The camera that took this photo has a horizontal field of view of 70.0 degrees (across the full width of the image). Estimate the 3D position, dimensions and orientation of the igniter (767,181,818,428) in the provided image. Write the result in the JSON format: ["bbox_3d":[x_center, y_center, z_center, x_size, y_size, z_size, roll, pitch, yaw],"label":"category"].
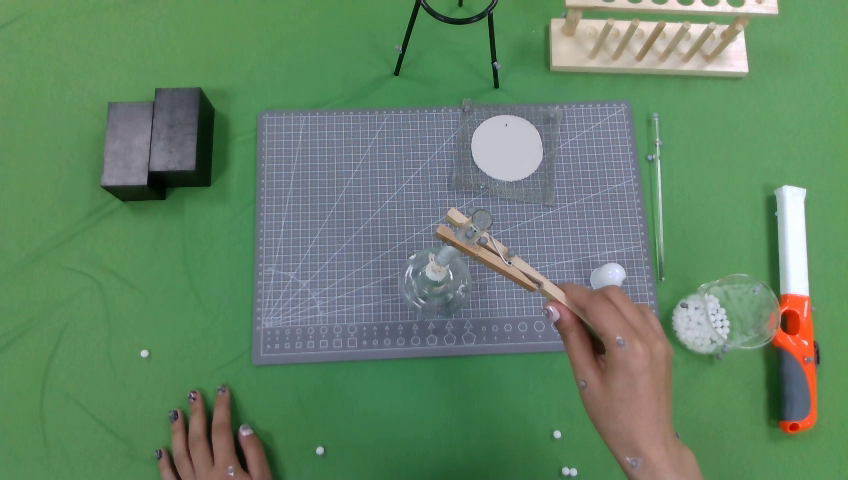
[{"bbox_3d":[0.409,0.068,0.676,0.057,0.025,0.275,9,76,-9],"label":"igniter"}]

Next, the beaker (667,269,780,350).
[{"bbox_3d":[0.304,0.075,0.635,0.084,0.101,0.074,29,76,7],"label":"beaker"}]

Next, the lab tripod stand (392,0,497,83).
[{"bbox_3d":[0.030,-0.250,0.690,0.148,0.132,0.147,0,78,-1],"label":"lab tripod stand"}]

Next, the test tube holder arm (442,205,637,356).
[{"bbox_3d":[0.087,0.031,0.458,0.178,0.015,0.013,36,78,0],"label":"test tube holder arm"}]

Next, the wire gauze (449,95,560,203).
[{"bbox_3d":[0.097,-0.112,0.719,0.125,0.011,0.121,9,77,0],"label":"wire gauze"}]

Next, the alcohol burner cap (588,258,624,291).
[{"bbox_3d":[0.203,0.036,0.668,0.034,0.048,0.033,0,76,-1],"label":"alcohol burner cap"}]

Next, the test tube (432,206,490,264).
[{"bbox_3d":[0.026,0.000,0.478,0.017,0.150,0.017,2,78,-9],"label":"test tube"}]

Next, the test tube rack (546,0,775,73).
[{"bbox_3d":[0.275,-0.253,0.722,0.242,0.085,0.066,1,76,-1],"label":"test tube rack"}]

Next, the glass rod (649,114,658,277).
[{"bbox_3d":[0.270,-0.055,0.712,0.008,0.008,0.199,3,78,-1],"label":"glass rod"}]

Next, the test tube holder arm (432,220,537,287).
[{"bbox_3d":[0.047,0.011,0.456,0.088,0.015,0.010,28,78,-1],"label":"test tube holder arm"}]

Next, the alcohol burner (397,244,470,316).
[{"bbox_3d":[0.010,0.037,0.626,0.078,0.119,0.077,0,75,1],"label":"alcohol burner"}]
